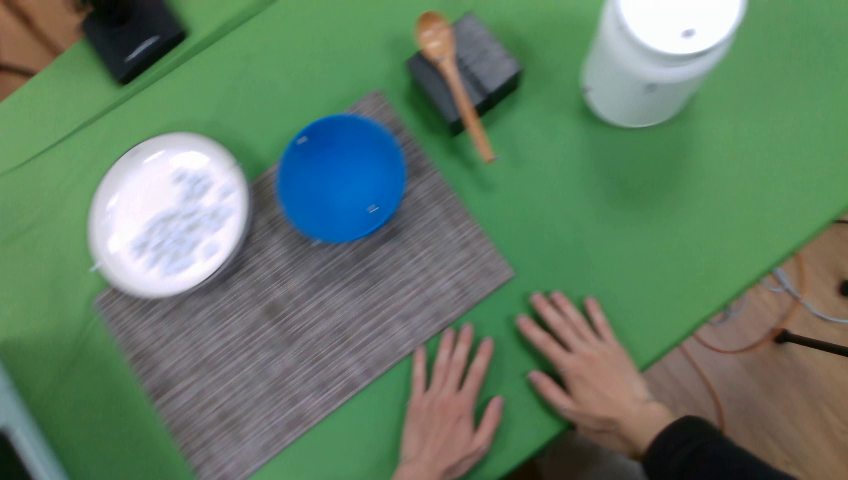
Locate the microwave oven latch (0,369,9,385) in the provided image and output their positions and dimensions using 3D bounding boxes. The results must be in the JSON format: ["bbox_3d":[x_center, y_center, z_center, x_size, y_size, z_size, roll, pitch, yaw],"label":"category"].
[{"bbox_3d":[-0.552,0.153,0.748,0.030,0.029,0.079,-39,81,-1],"label":"microwave oven latch"}]

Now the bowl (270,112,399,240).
[{"bbox_3d":[-0.099,-0.069,0.727,0.151,0.077,0.151,-1,82,6],"label":"bowl"}]

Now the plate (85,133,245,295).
[{"bbox_3d":[-0.321,-0.032,0.766,0.209,0.038,0.208,-1,79,7],"label":"plate"}]

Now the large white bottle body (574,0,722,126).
[{"bbox_3d":[0.241,-0.216,0.663,0.130,0.185,0.130,-1,81,6],"label":"large white bottle body"}]

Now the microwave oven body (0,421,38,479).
[{"bbox_3d":[-0.568,0.366,0.622,0.326,0.261,0.440,-39,81,-1],"label":"microwave oven body"}]

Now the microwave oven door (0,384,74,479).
[{"bbox_3d":[-0.429,0.306,0.611,0.039,0.245,0.354,-39,80,-1],"label":"microwave oven door"}]

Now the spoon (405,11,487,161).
[{"bbox_3d":[0.029,-0.181,0.717,0.041,0.021,0.193,-24,85,-3],"label":"spoon"}]

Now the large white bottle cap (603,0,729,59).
[{"bbox_3d":[0.231,-0.230,0.580,0.115,0.018,0.114,-1,81,5],"label":"large white bottle cap"}]
